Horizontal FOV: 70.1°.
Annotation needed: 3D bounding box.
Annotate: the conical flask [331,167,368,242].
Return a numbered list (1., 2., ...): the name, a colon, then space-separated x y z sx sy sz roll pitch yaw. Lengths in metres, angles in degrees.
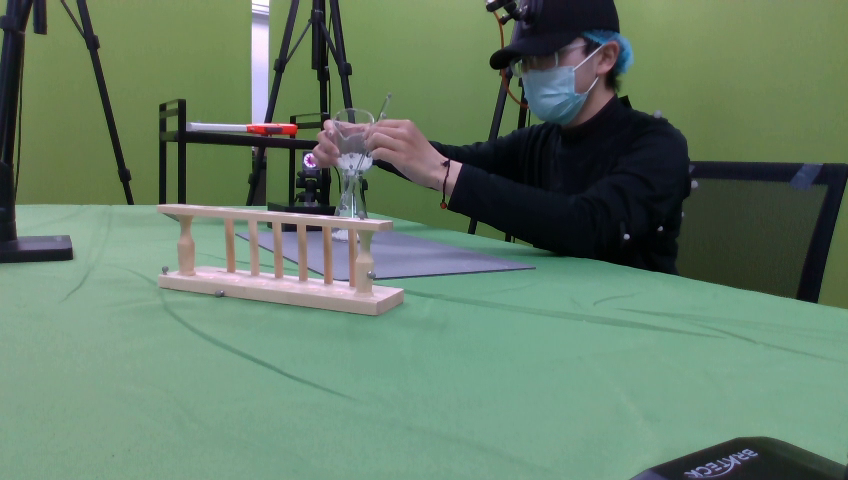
1. conical flask: -0.123 -0.061 1.019 0.075 0.122 0.075 3 7 0

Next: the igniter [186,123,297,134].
1. igniter: -0.393 -0.248 1.341 0.057 0.025 0.278 9 14 38

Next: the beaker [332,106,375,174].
1. beaker: -0.127 -0.175 1.086 0.074 0.100 0.084 13 49 7

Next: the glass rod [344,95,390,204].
1. glass rod: -0.095 -0.145 0.995 0.008 0.199 0.008 22 22 -9

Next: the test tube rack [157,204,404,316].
1. test tube rack: -0.143 0.013 0.599 0.242 0.085 0.067 5 8 19
